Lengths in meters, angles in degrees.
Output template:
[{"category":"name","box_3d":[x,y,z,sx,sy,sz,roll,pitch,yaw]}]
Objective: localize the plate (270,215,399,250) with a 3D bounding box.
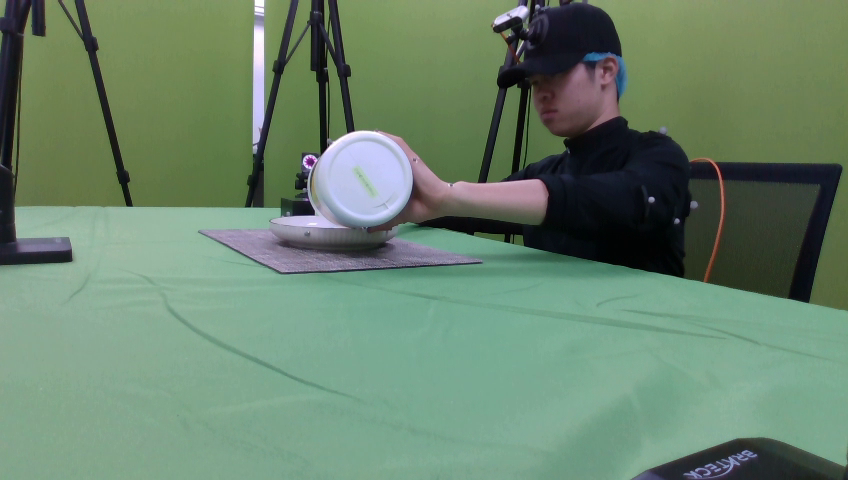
[{"category":"plate","box_3d":[-0.145,-0.013,0.992,0.208,0.039,0.207,2,7,0]}]

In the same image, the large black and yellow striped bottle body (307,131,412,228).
[{"category":"large black and yellow striped bottle body","box_3d":[-0.103,-0.082,0.891,0.131,0.130,0.183,0,0,-17]}]

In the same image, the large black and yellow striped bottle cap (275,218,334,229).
[{"category":"large black and yellow striped bottle cap","box_3d":[-0.236,-0.033,1.197,0.115,0.019,0.115,2,3,0]}]
